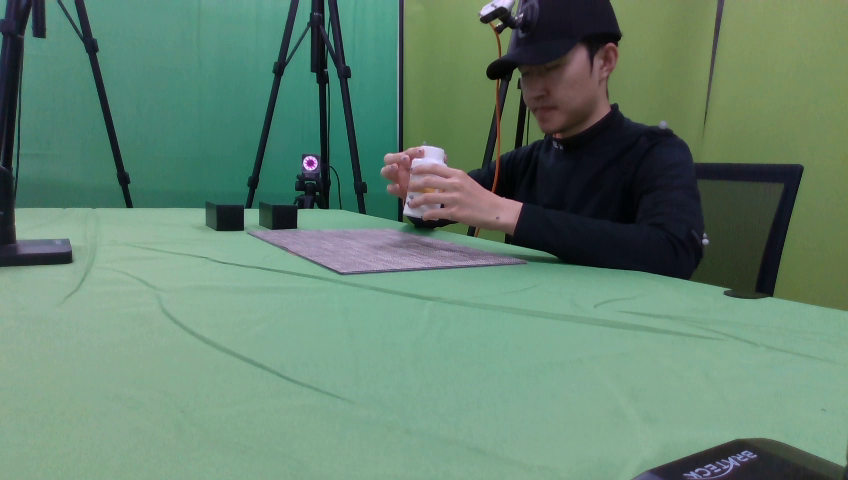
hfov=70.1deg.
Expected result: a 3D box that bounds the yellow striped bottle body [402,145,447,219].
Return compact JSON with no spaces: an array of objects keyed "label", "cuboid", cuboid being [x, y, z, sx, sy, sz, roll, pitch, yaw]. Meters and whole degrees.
[{"label":"yellow striped bottle body","cuboid":[0.004,-0.099,1.033,0.063,0.120,0.063,11,2,0]}]

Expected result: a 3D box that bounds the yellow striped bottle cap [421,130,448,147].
[{"label":"yellow striped bottle cap","cuboid":[0.018,-0.172,1.027,0.044,0.018,0.044,17,3,-1]}]
